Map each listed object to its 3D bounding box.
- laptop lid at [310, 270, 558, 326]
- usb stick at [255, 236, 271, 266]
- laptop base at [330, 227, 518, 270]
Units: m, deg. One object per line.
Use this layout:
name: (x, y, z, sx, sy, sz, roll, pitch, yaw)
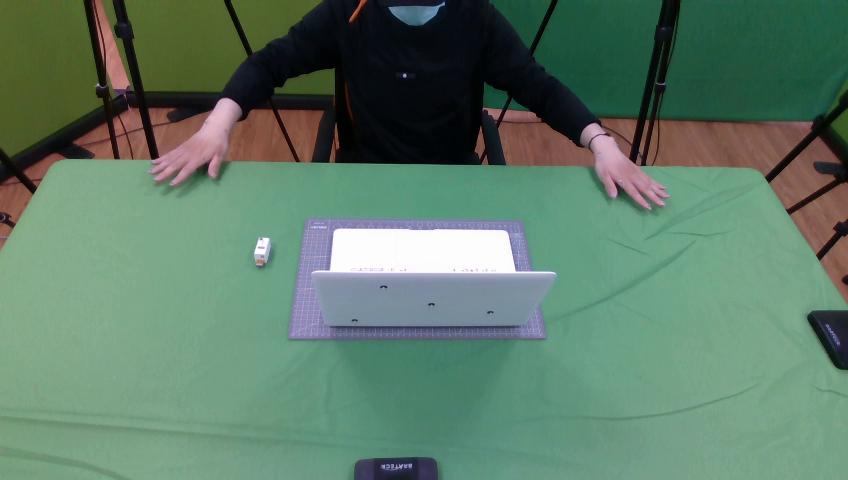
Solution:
laptop lid: (0.011, 0.095, 0.948, 0.357, 0.242, 0.013, 1, 64, -5)
usb stick: (-0.306, 0.022, 1.148, 0.021, 0.027, 0.059, 3, 50, -1)
laptop base: (0.001, 0.063, 1.134, 0.354, 0.023, 0.234, 0, 43, -3)
